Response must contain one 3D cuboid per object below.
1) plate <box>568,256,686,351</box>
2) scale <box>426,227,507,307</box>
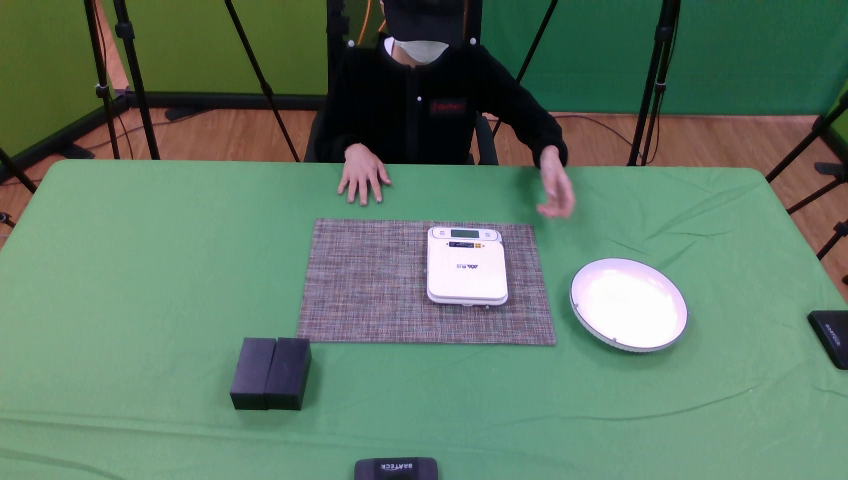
[{"bbox_3d":[0.364,0.118,1.102,0.208,0.039,0.206,2,46,-2],"label":"plate"},{"bbox_3d":[0.078,0.043,1.152,0.149,0.032,0.199,3,45,-2],"label":"scale"}]
